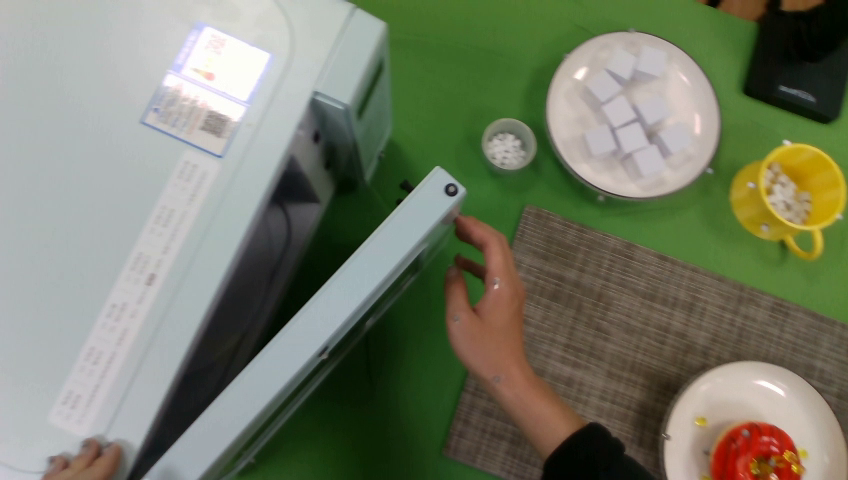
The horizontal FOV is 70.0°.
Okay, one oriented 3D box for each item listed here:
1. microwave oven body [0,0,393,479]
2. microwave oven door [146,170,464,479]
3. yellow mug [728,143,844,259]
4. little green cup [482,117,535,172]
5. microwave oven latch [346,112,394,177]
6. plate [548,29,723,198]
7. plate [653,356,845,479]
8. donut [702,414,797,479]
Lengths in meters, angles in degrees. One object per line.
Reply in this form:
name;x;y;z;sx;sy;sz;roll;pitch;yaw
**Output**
microwave oven body;-0.264;-0.029;0.565;0.326;0.260;0.440;24;81;1
microwave oven door;-0.102;0.098;0.549;0.039;0.244;0.355;42;81;6
yellow mug;0.425;-0.041;0.705;0.100;0.064;0.130;-16;83;-5
little green cup;0.097;-0.109;0.711;0.061;0.039;0.061;0;83;-1
microwave oven latch;-0.061;-0.113;0.686;0.030;0.029;0.079;27;81;1
plate;0.249;-0.148;0.727;0.208;0.039;0.207;1;81;-3
plate;0.351;0.231;0.668;0.209;0.038;0.208;0;81;-2
donut;0.351;0.239;0.656;0.099;0.048;0.099;0;84;-1
